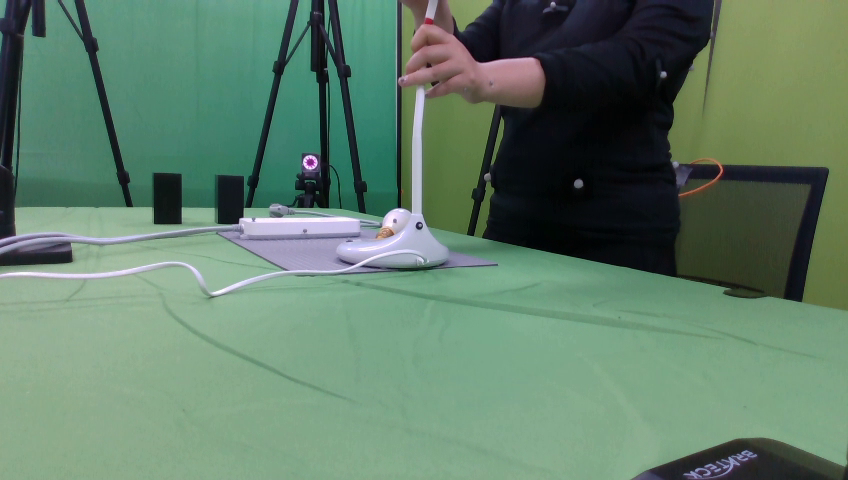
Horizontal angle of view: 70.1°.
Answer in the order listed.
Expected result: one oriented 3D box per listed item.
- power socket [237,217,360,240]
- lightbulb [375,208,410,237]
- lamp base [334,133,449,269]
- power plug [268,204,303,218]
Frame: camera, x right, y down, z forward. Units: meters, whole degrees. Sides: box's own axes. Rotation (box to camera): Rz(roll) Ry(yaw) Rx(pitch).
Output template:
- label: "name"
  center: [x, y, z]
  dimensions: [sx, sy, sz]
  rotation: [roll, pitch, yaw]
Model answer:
- label: "power socket"
  center: [-0.221, -0.023, 1.080]
  dimensions: [0.228, 0.032, 0.072]
  rotation: [-2, 8, -32]
- label: "lightbulb"
  center: [-0.052, -0.017, 1.022]
  dimensions: [0.059, 0.059, 0.108]
  rotation: [6, 21, 21]
- label: "lamp base"
  center: [-0.034, -0.057, 0.831]
  dimensions: [0.161, 0.180, 0.178]
  rotation: [-3, 11, -36]
- label: "power plug"
  center: [-0.327, -0.060, 1.404]
  dimensions: [0.073, 0.035, 0.052]
  rotation: [22, -14, -25]
